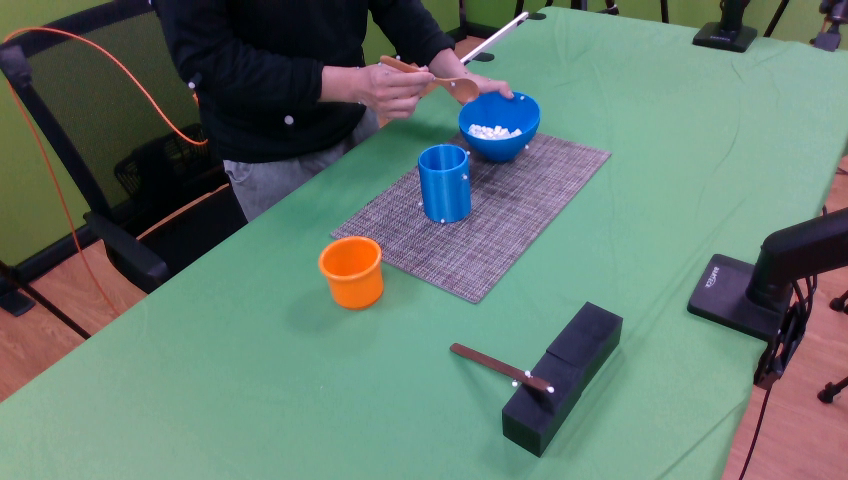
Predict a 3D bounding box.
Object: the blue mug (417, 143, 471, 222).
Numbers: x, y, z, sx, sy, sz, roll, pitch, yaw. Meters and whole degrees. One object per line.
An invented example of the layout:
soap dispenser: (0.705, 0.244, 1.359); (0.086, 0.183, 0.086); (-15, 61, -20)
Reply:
blue mug: (0.031, -0.104, 1.014); (0.082, 0.106, 0.115); (-14, 41, -7)

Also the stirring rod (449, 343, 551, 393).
stirring rod: (0.088, 0.154, 0.741); (0.014, 0.006, 0.174); (-39, 28, -25)

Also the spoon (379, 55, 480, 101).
spoon: (0.012, -0.261, 0.964); (0.195, 0.041, 0.021); (8, 43, -39)

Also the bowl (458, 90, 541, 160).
bowl: (0.140, -0.201, 1.111); (0.151, 0.077, 0.150); (-5, 47, 6)
